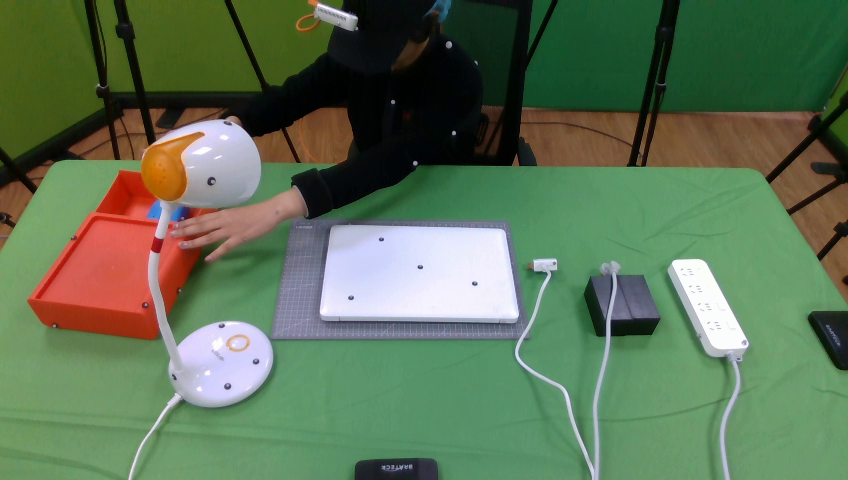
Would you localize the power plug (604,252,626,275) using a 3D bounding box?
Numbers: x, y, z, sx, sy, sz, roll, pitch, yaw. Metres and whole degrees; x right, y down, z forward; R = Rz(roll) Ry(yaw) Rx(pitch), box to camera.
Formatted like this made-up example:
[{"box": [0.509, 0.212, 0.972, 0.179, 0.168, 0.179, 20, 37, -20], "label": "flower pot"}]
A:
[{"box": [0.366, 0.039, 1.129, 0.035, 0.072, 0.052, 40, 57, -10], "label": "power plug"}]

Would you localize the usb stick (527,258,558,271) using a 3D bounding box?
[{"box": [0.226, 0.046, 1.158, 0.059, 0.021, 0.027, -3, 8, 10], "label": "usb stick"}]

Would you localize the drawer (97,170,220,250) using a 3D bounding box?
[{"box": [-0.517, -0.035, 1.156, 0.194, 0.073, 0.210, 6, 46, 0], "label": "drawer"}]

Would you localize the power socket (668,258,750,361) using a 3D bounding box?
[{"box": [0.517, 0.118, 1.109, 0.072, 0.033, 0.225, -2, 46, -4], "label": "power socket"}]

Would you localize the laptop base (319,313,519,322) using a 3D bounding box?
[{"box": [-0.009, 0.062, 1.137, 0.354, 0.023, 0.234, 1, 42, -3], "label": "laptop base"}]

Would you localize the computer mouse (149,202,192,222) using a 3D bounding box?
[{"box": [-0.501, -0.037, 1.180, 0.063, 0.041, 0.116, 7, 46, 2], "label": "computer mouse"}]

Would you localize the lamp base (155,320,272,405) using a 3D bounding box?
[{"box": [-0.330, 0.149, 0.918, 0.160, 0.181, 0.179, 26, 52, 20], "label": "lamp base"}]

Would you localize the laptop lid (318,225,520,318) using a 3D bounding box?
[{"box": [-0.009, 0.052, 1.131, 0.357, 0.013, 0.240, 2, 43, -2], "label": "laptop lid"}]

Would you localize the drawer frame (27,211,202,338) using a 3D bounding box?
[{"box": [-0.529, 0.056, 1.063, 0.202, 0.083, 0.212, 7, 46, 1], "label": "drawer frame"}]

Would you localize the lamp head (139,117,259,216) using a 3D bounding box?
[{"box": [-0.281, -0.086, 0.734, 0.112, 0.113, 0.123, 21, 25, 16], "label": "lamp head"}]
